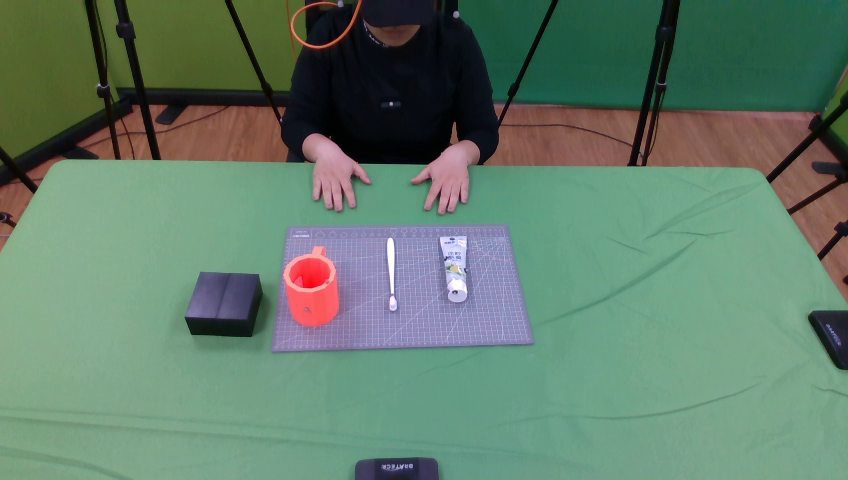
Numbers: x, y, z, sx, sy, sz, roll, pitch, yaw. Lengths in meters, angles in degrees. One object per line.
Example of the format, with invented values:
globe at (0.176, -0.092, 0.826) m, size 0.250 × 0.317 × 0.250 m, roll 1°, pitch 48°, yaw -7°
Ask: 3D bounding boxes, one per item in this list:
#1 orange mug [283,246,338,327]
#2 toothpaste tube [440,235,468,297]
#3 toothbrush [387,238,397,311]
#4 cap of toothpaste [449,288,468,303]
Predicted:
orange mug at (-0.193, 0.073, 1.056) m, size 0.083 × 0.101 × 0.125 m, roll 5°, pitch 50°, yaw 1°
toothpaste tube at (0.062, 0.046, 1.151) m, size 0.055 × 0.035 × 0.164 m, roll 3°, pitch 43°, yaw -6°
toothbrush at (-0.061, 0.059, 1.136) m, size 0.014 × 0.017 × 0.180 m, roll -10°, pitch 45°, yaw 5°
cap of toothpaste at (0.062, 0.098, 1.093) m, size 0.037 × 0.037 × 0.011 m, roll 1°, pitch 42°, yaw -2°
